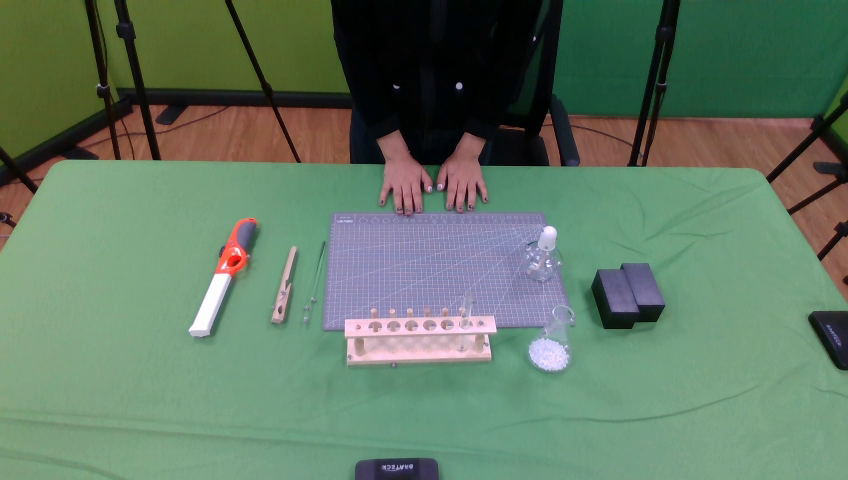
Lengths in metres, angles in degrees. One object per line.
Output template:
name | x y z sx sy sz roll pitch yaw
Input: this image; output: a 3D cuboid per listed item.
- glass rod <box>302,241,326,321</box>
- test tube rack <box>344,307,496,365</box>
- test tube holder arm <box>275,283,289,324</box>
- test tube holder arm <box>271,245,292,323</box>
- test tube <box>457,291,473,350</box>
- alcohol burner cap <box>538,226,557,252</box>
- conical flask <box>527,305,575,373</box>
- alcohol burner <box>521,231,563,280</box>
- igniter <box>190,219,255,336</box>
glass rod | -0.203 0.071 1.124 0.008 0.008 0.198 4 44 1
test tube rack | -0.009 0.154 1.007 0.242 0.085 0.066 -1 46 -5
test tube holder arm | -0.254 0.111 1.077 0.010 0.015 0.087 29 38 -27
test tube holder arm | -0.259 0.076 1.106 0.013 0.015 0.177 28 38 -28
test tube | 0.064 0.132 0.965 0.017 0.151 0.017 1 48 -1
alcohol burner cap | 0.226 -0.004 1.104 0.034 0.048 0.033 -1 50 1
conical flask | 0.215 0.157 0.996 0.075 0.122 0.075 2 46 -2
alcohol burner | 0.224 0.020 1.131 0.078 0.119 0.077 4 46 -4
igniter | -0.365 0.058 1.111 0.057 0.025 0.275 -1 45 8
